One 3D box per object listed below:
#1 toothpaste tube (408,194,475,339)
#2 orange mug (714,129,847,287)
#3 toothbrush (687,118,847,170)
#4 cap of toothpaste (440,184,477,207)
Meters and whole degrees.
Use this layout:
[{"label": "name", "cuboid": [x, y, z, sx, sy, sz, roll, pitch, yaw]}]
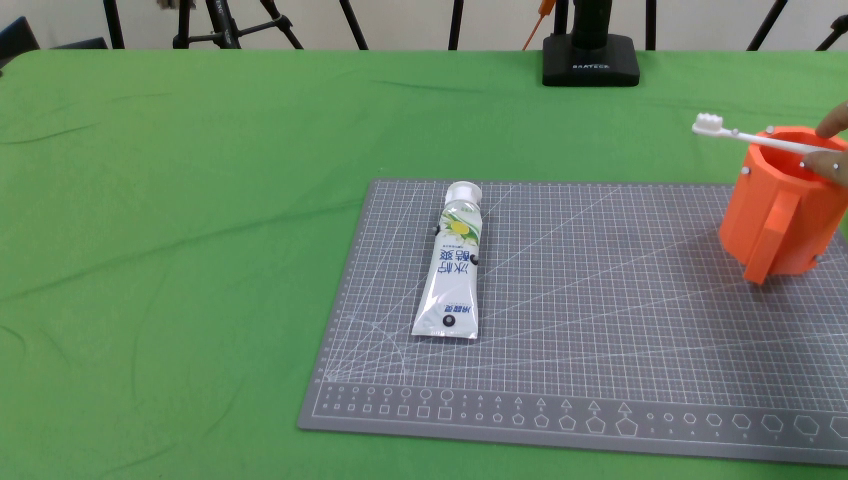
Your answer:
[{"label": "toothpaste tube", "cuboid": [0.022, 0.017, 0.540, 0.055, 0.035, 0.163, -1, 47, 10]}, {"label": "orange mug", "cuboid": [0.296, -0.022, 0.506, 0.083, 0.102, 0.126, 23, 46, 27]}, {"label": "toothbrush", "cuboid": [0.304, -0.070, 0.480, 0.180, 0.017, 0.014, 19, 43, 24]}, {"label": "cap of toothpaste", "cuboid": [0.034, -0.040, 0.590, 0.037, 0.038, 0.011, 5, 50, 10]}]
